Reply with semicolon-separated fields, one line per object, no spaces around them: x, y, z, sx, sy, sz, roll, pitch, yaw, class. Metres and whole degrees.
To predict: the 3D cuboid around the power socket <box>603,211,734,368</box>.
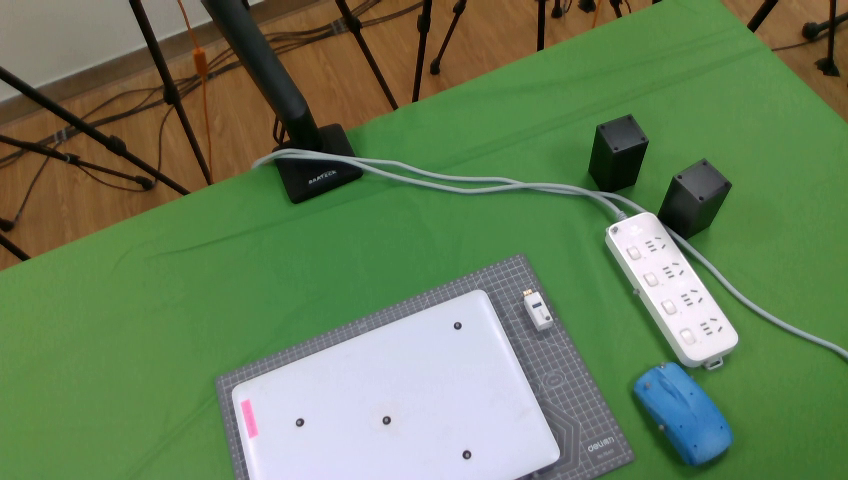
0.311;0.057;0.783;0.072;0.033;0.224;-22;60;-4;power socket

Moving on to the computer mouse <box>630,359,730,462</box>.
0.297;0.195;0.706;0.063;0.041;0.116;-28;57;-5;computer mouse

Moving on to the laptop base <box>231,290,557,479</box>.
-0.045;0.223;0.745;0.354;0.023;0.233;-22;64;-5;laptop base

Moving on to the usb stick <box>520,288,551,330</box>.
0.143;0.086;0.789;0.021;0.027;0.058;-23;58;-2;usb stick

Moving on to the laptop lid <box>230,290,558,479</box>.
-0.046;0.219;0.734;0.357;0.013;0.239;-20;63;-4;laptop lid
